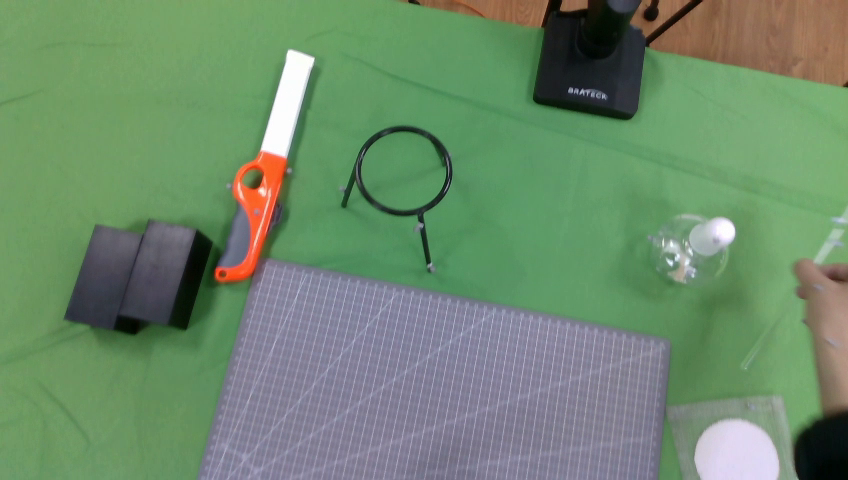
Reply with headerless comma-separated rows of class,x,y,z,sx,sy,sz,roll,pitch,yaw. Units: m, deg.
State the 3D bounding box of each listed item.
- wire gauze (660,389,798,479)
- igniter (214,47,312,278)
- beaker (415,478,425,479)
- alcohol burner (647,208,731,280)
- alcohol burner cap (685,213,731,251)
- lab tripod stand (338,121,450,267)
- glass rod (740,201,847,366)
wire gauze,0.316,0.219,0.620,0.125,0.011,0.121,-6,76,-1
igniter,-0.174,-0.088,0.670,0.057,0.025,0.275,16,75,-13
beaker,-0.008,0.243,0.513,0.074,0.101,0.083,7,72,2
alcohol burner,0.276,-0.001,0.619,0.078,0.119,0.077,1,74,-2
alcohol burner cap,0.277,-0.010,0.584,0.034,0.048,0.033,0,79,2
lab tripod stand,-0.021,-0.055,0.613,0.148,0.132,0.147,0,74,-1
glass rod,0.365,0.039,0.590,0.008,0.008,0.200,31,96,6
